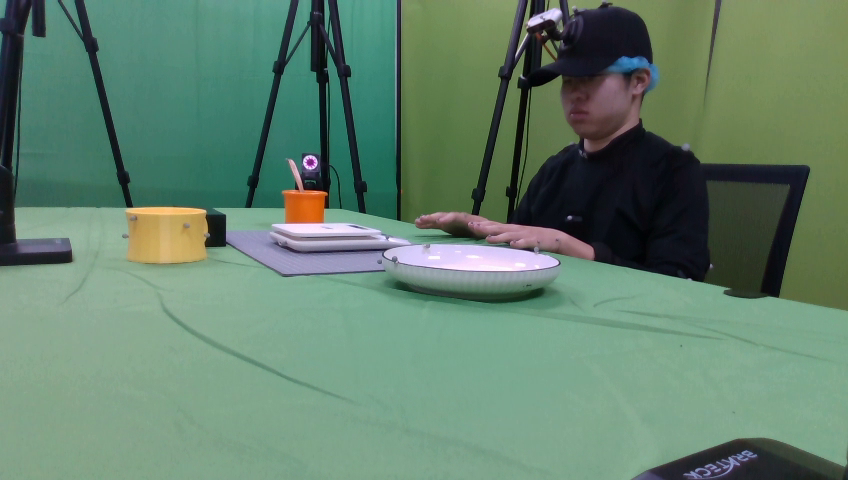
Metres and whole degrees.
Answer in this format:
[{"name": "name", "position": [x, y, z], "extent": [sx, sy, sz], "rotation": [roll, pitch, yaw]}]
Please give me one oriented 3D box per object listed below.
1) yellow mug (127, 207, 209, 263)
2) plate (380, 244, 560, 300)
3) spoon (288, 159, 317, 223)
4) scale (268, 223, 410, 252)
[{"name": "yellow mug", "position": [-0.339, -0.009, 0.827], "extent": [0.100, 0.064, 0.131], "rotation": [5, 7, 17]}, {"name": "plate", "position": [0.053, 0.036, 0.708], "extent": [0.209, 0.038, 0.209], "rotation": [2, 7, 0]}, {"name": "spoon", "position": [-0.259, -0.103, 1.268], "extent": [0.042, 0.193, 0.021], "rotation": [3, -39, -33]}, {"name": "scale", "position": [-0.137, -0.006, 0.980], "extent": [0.202, 0.031, 0.148], "rotation": [-1, 8, -30]}]
